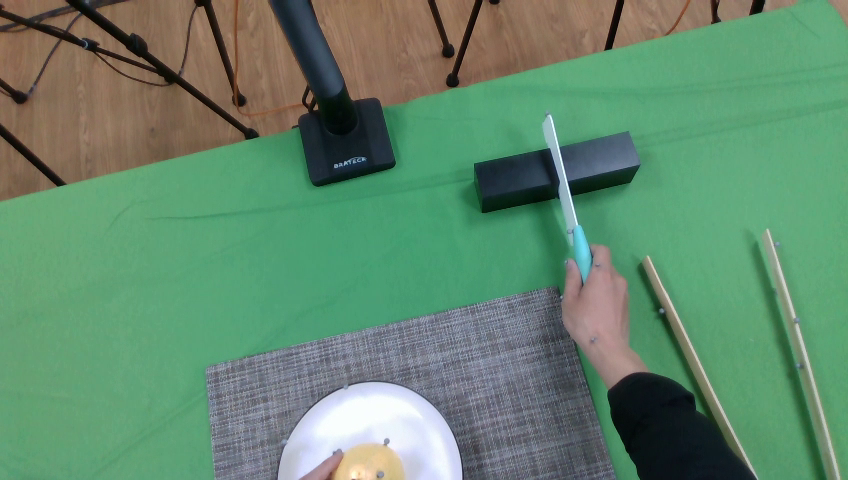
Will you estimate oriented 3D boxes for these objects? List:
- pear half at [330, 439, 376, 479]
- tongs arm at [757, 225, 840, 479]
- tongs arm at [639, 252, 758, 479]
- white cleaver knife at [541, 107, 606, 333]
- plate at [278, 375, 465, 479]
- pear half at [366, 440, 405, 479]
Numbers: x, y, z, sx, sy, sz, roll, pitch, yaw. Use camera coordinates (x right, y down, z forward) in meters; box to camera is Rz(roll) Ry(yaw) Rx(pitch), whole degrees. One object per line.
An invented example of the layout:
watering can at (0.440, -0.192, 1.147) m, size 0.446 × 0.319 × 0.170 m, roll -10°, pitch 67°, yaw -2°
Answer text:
pear half at (-0.075, 0.250, 0.639) m, size 0.056 × 0.111 × 0.075 m, roll -9°, pitch 65°, yaw 2°
tongs arm at (0.418, 0.166, 0.689) m, size 0.051 × 0.027 × 0.382 m, roll -8°, pitch 71°, yaw 3°
tongs arm at (0.339, 0.185, 0.693) m, size 0.028 × 0.028 × 0.384 m, roll -19°, pitch 70°, yaw -5°
white cleaver knife at (0.182, -0.028, 0.748) m, size 0.021 × 0.066 × 0.285 m, roll -11°, pitch 80°, yaw 4°
plate at (-0.057, 0.259, 0.683) m, size 0.207 × 0.039 × 0.206 m, roll -1°, pitch 70°, yaw 4°
pear half at (-0.038, 0.248, 0.646) m, size 0.031 × 0.088 × 0.070 m, roll -11°, pitch 66°, yaw 3°
